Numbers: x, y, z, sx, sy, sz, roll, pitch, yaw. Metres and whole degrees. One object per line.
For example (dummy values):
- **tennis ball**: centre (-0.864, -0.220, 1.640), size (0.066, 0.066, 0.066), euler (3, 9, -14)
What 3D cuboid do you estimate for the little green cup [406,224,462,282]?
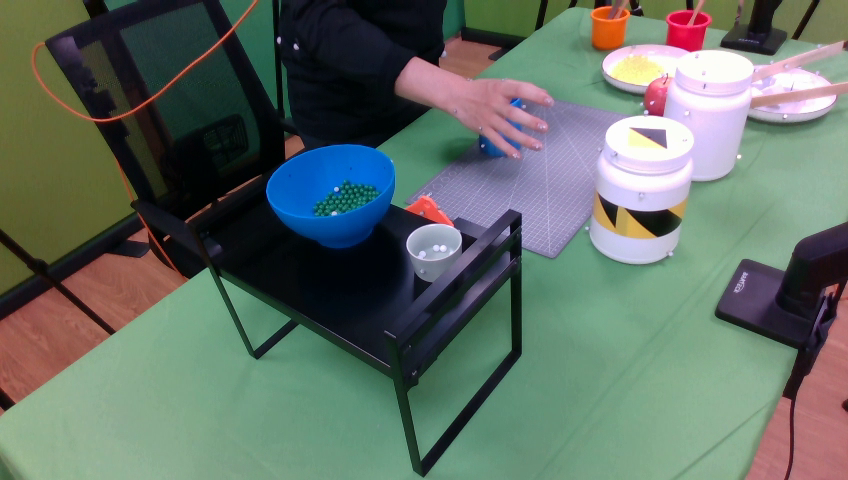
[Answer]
- **little green cup**: centre (0.013, 0.015, 0.668), size (0.061, 0.039, 0.061), euler (-4, 40, 4)

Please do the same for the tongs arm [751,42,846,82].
- **tongs arm**: centre (0.708, -0.331, 1.193), size (0.386, 0.026, 0.050), euler (-18, 45, -16)

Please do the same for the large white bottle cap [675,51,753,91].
- **large white bottle cap**: centre (0.463, -0.271, 0.967), size (0.115, 0.018, 0.114), euler (-3, 41, 3)

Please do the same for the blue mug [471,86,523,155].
- **blue mug**: centre (0.136, -0.235, 1.163), size (0.082, 0.106, 0.115), euler (-36, 48, -28)

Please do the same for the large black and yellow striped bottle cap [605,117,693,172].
- **large black and yellow striped bottle cap**: centre (0.309, -0.134, 0.833), size (0.115, 0.019, 0.114), euler (-5, 40, 5)

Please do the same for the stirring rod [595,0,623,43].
- **stirring rod**: centre (0.460, -0.556, 1.459), size (0.014, 0.006, 0.176), euler (30, 93, 23)

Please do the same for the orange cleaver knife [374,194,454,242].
- **orange cleaver knife**: centre (-0.032, -0.027, 0.964), size (0.210, 0.077, 0.012), euler (-10, 28, 51)

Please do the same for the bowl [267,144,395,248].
- **bowl**: centre (-0.104, -0.043, 0.726), size (0.151, 0.077, 0.150), euler (-4, 40, 4)

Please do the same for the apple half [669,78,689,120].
- **apple half**: centre (0.498, -0.273, 1.180), size (0.032, 0.082, 0.081), euler (7, 42, 25)

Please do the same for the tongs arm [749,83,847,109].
- **tongs arm**: centre (0.734, -0.280, 1.133), size (0.388, 0.028, 0.028), euler (-9, 47, -5)

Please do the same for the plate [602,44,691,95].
- **plate**: centre (0.495, -0.366, 1.317), size (0.209, 0.038, 0.208), euler (-4, 40, 4)

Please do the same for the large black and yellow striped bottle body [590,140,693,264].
- **large black and yellow striped bottle body**: centre (0.317, -0.071, 0.889), size (0.131, 0.185, 0.130), euler (-4, 41, 4)

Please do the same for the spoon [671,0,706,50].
- **spoon**: centre (0.629, -0.520, 1.394), size (0.041, 0.022, 0.193), euler (30, 97, 34)

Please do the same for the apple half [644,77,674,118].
- **apple half**: centre (0.463, -0.279, 1.194), size (0.053, 0.075, 0.081), euler (8, 46, 24)

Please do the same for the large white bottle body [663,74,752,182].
- **large white bottle body**: centre (0.472, -0.207, 1.022), size (0.130, 0.185, 0.130), euler (-4, 41, 4)

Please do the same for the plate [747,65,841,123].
- **plate**: centre (0.694, -0.282, 1.189), size (0.207, 0.039, 0.206), euler (-4, 40, 4)

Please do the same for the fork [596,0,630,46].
- **fork**: centre (0.480, -0.556, 1.452), size (0.028, 0.019, 0.207), euler (40, 103, 40)
